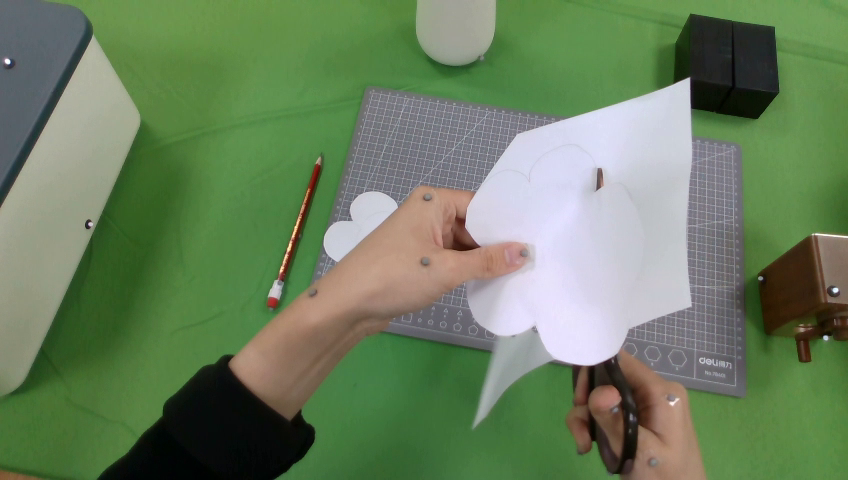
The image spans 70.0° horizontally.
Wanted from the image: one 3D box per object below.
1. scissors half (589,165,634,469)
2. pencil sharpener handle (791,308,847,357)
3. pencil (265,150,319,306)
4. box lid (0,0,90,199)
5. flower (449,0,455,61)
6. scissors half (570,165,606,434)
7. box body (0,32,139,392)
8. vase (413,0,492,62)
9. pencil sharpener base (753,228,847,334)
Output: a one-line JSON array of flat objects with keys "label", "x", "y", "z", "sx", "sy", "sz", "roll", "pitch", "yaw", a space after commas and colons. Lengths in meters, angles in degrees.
[{"label": "scissors half", "x": 0.103, "y": 0.044, "z": 0.346, "sx": 0.013, "sy": 0.040, "sz": 0.175, "roll": -5, "pitch": 89, "yaw": -9}, {"label": "pencil sharpener handle", "x": 0.367, "y": 0.086, "z": 0.555, "sx": 0.036, "sy": 0.068, "sz": 0.030, "roll": 11, "pitch": 66, "yaw": -12}, {"label": "pencil", "x": -0.141, "y": -0.019, "z": 0.664, "sx": 0.012, "sy": 0.012, "sz": 0.192, "roll": 10, "pitch": 65, "yaw": 5}, {"label": "box lid", "x": -0.476, "y": -0.084, "z": 0.523, "sx": 0.263, "sy": 0.015, "sz": 0.369, "roll": 10, "pitch": 66, "yaw": 3}, {"label": "flower", "x": 0.029, "y": -0.343, "z": 0.612, "sx": 0.044, "sy": 0.365, "sz": 0.038, "roll": 3, "pitch": 48, "yaw": 5}, {"label": "scissors half", "x": 0.101, "y": 0.040, "z": 0.367, "sx": 0.013, "sy": 0.176, "sz": 0.039, "roll": -3, "pitch": 23, "yaw": -4}, {"label": "box body", "x": -0.476, "y": -0.051, "z": 0.591, "sx": 0.254, "sy": 0.161, "sz": 0.361, "roll": 10, "pitch": 67, "yaw": 4}, {"label": "vase", "x": 0.034, "y": -0.297, "z": 0.682, "sx": 0.098, "sy": 0.201, "sz": 0.097, "roll": 0, "pitch": 65, "yaw": 1}, {"label": "pencil sharpener base", "x": 0.377, "y": 0.045, "z": 0.586, "sx": 0.061, "sy": 0.108, "sz": 0.076, "roll": 5, "pitch": 67, "yaw": 2}]
